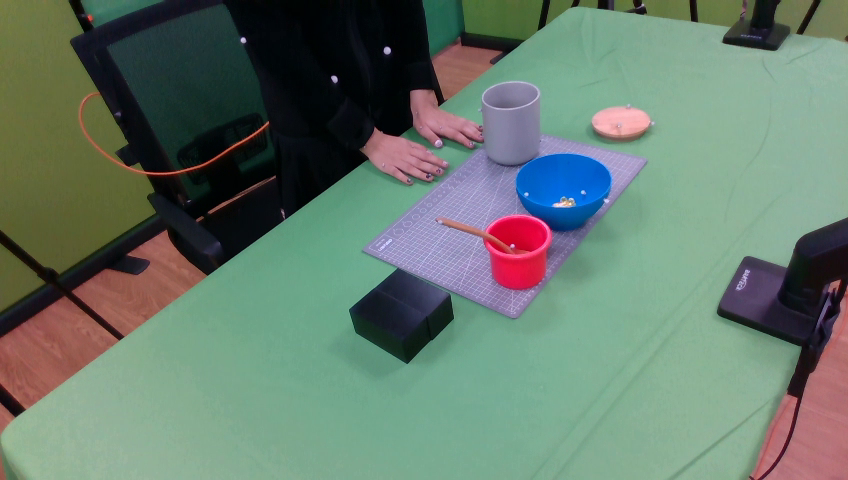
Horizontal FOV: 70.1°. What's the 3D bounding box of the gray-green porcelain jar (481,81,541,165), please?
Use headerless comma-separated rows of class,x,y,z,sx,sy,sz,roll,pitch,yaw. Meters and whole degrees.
gray-green porcelain jar,0.162,-0.212,1.117,0.106,0.127,0.105,-6,40,5

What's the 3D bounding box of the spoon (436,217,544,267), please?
spoon,0.097,0.001,0.864,0.195,0.021,0.041,25,24,-30

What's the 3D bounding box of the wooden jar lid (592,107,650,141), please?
wooden jar lid,0.382,-0.225,1.178,0.108,0.021,0.108,-5,40,4

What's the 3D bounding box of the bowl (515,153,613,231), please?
bowl,0.224,-0.068,0.972,0.151,0.077,0.150,-5,40,5
